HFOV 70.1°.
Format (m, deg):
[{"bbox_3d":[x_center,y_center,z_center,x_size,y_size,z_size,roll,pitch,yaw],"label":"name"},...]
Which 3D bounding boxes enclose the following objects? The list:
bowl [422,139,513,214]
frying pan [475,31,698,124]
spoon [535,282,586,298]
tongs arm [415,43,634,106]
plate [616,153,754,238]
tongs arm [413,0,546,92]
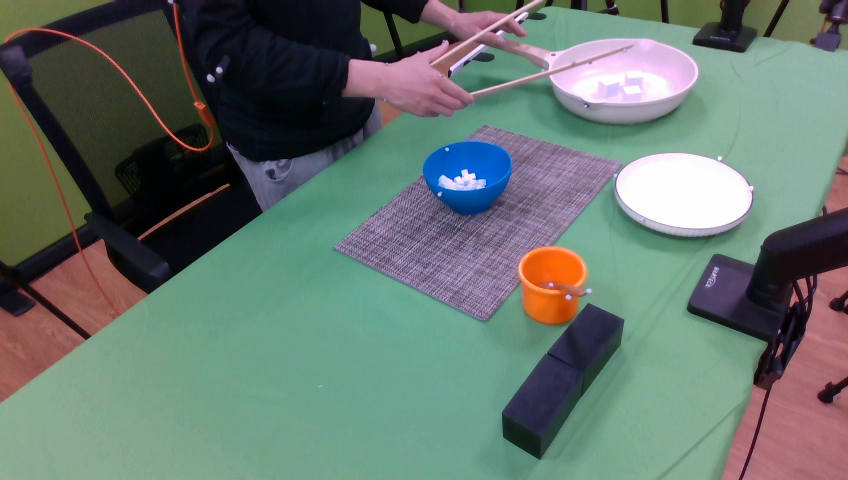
[{"bbox_3d":[0.075,-0.097,1.021,0.151,0.077,0.150,-4,41,4],"label":"bowl"},{"bbox_3d":[0.320,-0.371,1.290,0.485,0.103,0.307,28,50,23],"label":"frying pan"},{"bbox_3d":[0.176,0.063,0.774,0.041,0.194,0.021,-3,85,1],"label":"spoon"},{"bbox_3d":[0.173,-0.290,1.024,0.385,0.051,0.026,-20,5,-7],"label":"tongs arm"},{"bbox_3d":[0.416,-0.069,0.977,0.207,0.039,0.206,-4,40,4],"label":"plate"},{"bbox_3d":[0.141,-0.361,1.019,0.388,0.028,0.027,-32,10,-6],"label":"tongs arm"}]
